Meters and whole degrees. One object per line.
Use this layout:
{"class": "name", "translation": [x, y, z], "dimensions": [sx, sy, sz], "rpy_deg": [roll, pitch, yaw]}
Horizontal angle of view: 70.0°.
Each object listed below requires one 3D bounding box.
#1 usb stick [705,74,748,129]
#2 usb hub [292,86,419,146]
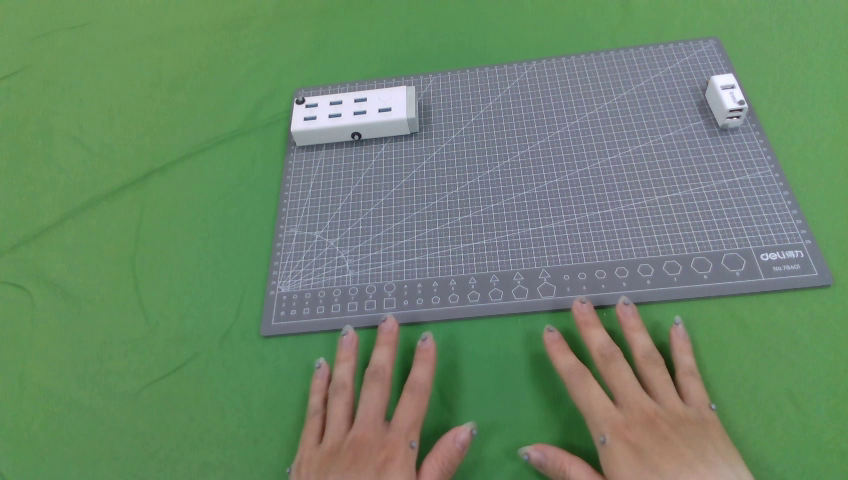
{"class": "usb stick", "translation": [0.277, -0.133, 0.561], "dimensions": [0.021, 0.027, 0.058], "rpy_deg": [-8, 53, 6]}
{"class": "usb hub", "translation": [-0.069, -0.126, 0.610], "dimensions": [0.125, 0.025, 0.049], "rpy_deg": [-5, 55, 5]}
